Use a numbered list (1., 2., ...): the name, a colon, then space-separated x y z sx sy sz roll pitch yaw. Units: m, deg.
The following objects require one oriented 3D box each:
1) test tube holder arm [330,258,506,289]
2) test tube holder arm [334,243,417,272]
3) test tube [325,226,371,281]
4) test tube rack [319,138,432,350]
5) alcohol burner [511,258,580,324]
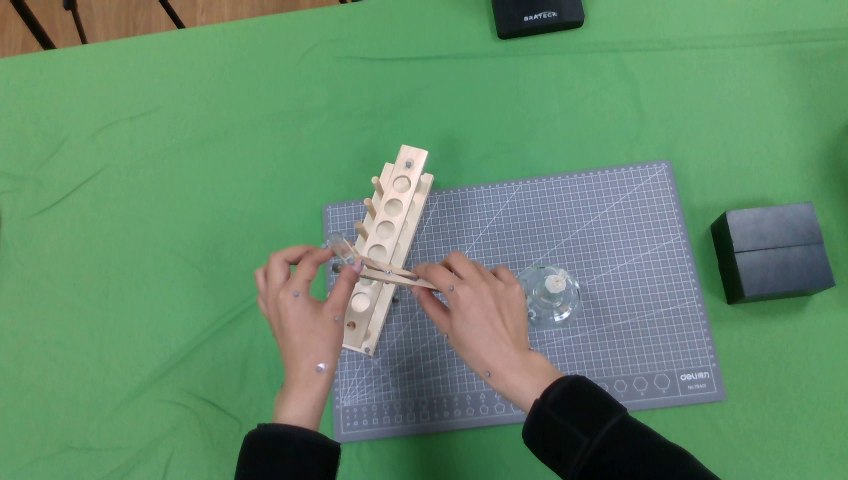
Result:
1. test tube holder arm: -0.007 0.034 0.608 0.178 0.015 0.013 7 65 9
2. test tube holder arm: -0.049 0.021 0.618 0.087 0.015 0.010 16 66 13
3. test tube: -0.073 0.018 0.610 0.017 0.151 0.017 -2 72 6
4. test tube rack: -0.061 0.002 0.723 0.066 0.086 0.241 16 76 10
5. alcohol burner: 0.138 0.054 0.678 0.078 0.120 0.077 -1 73 3
